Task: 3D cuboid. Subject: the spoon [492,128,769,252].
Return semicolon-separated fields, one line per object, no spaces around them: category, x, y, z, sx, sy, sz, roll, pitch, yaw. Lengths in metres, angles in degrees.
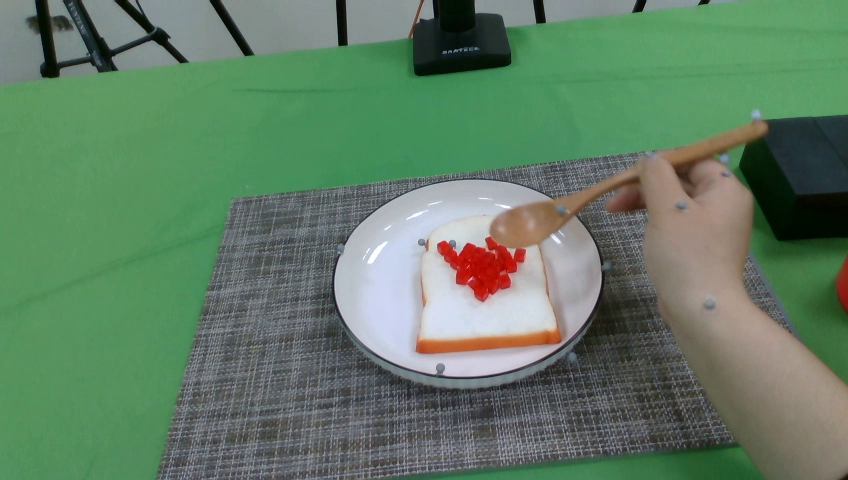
spoon;0.136;-0.035;0.422;0.193;0.022;0.041;-24;41;26

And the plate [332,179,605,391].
plate;0.033;0.031;0.478;0.209;0.038;0.207;-4;45;5

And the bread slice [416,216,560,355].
bread slice;0.045;0.031;0.479;0.105;0.019;0.130;-4;46;3
